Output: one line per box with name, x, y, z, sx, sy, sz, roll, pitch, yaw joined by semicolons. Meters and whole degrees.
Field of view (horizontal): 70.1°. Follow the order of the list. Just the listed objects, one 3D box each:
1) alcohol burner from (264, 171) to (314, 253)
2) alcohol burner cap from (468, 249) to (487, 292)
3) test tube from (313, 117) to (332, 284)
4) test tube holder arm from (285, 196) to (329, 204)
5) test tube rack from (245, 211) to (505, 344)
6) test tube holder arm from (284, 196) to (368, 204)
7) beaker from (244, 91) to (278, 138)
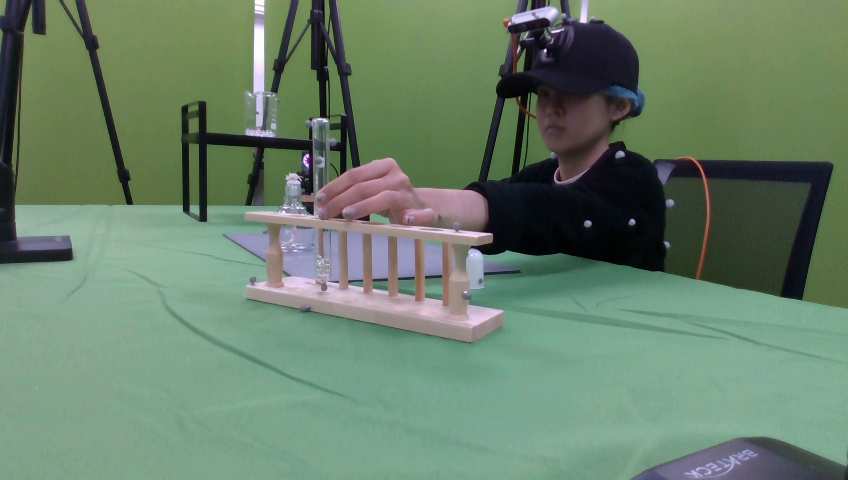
alcohol burner;-0.194;-0.042;0.888;0.078;0.119;0.078;3;5;0
alcohol burner cap;0.056;0.035;0.689;0.034;0.048;0.034;2;7;0
test tube;-0.092;-0.035;0.545;0.017;0.150;0.017;0;5;0
test tube holder arm;-0.231;-0.079;1.192;0.088;0.015;0.010;-1;8;-30
test tube rack;-0.049;0.025;0.547;0.241;0.085;0.067;7;8;29
test tube holder arm;-0.195;-0.080;1.220;0.179;0.015;0.013;-1;8;-32
beaker;-0.367;-0.280;1.356;0.074;0.100;0.084;4;8;6
